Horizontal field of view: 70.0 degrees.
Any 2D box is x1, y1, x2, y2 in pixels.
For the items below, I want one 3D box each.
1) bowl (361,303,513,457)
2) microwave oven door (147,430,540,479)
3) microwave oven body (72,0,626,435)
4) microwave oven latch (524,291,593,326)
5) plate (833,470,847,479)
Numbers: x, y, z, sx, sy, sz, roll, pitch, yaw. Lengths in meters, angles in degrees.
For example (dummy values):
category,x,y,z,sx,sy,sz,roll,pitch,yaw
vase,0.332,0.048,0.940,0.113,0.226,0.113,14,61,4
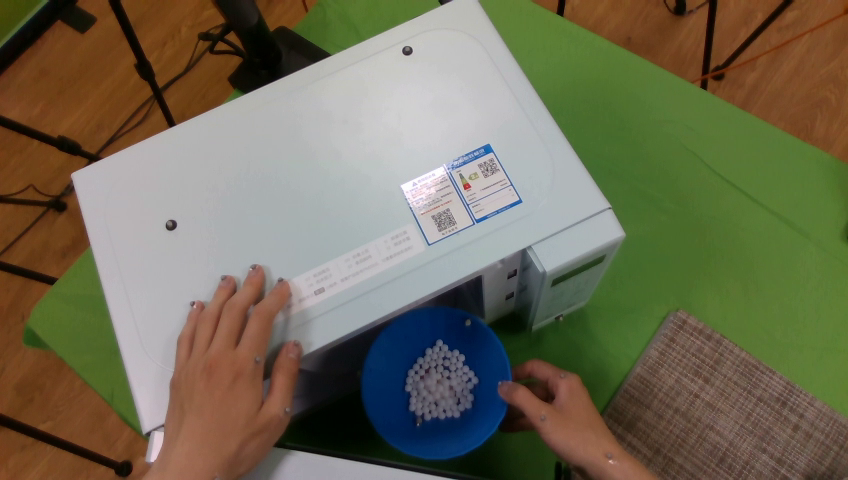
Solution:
category,x,y,z,sx,sy,sz,roll,pitch,yaw
bowl,0.015,0.148,0.629,0.151,0.077,0.150,-1,68,4
microwave oven door,-0.037,0.223,0.574,0.355,0.245,0.039,6,71,8
microwave oven body,-0.074,-0.006,0.667,0.442,0.262,0.323,-26,70,-3
microwave oven latch,0.159,0.072,0.718,0.079,0.030,0.030,-24,70,-2
plate,0.488,0.327,0.604,0.207,0.039,0.206,-2,70,5
